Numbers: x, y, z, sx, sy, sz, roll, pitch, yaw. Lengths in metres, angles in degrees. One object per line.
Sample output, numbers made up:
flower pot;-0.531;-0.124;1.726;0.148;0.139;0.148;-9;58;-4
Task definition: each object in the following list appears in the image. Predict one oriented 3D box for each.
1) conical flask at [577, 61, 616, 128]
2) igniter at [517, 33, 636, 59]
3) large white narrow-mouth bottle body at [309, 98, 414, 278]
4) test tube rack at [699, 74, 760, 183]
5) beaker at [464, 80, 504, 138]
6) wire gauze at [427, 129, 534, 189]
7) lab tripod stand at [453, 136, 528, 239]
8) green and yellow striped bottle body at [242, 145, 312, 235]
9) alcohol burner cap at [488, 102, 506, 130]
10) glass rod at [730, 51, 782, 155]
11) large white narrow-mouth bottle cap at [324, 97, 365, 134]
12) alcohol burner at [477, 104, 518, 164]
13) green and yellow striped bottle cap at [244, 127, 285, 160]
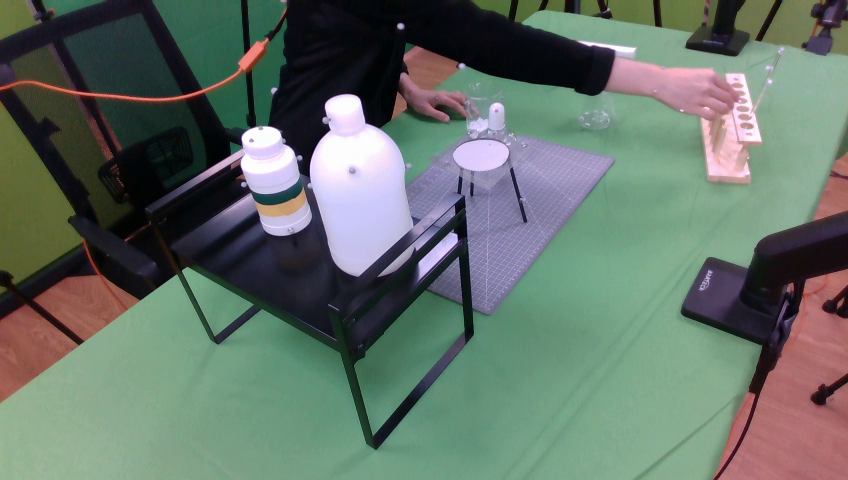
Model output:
conical flask;0.343;-0.287;1.187;0.075;0.122;0.075;-4;40;4
igniter;0.336;-0.441;1.369;0.275;0.025;0.057;16;41;23
large white narrow-mouth bottle body;-0.068;-0.057;0.645;0.102;0.195;0.101;-4;42;4
test tube rack;0.547;-0.208;1.095;0.066;0.085;0.242;6;42;16
beaker;0.118;-0.254;1.193;0.074;0.101;0.083;-19;42;-14
wire gauze;0.086;-0.131;0.924;0.124;0.011;0.122;26;52;33
lab tripod stand;0.094;-0.086;0.974;0.148;0.132;0.147;-4;42;4
green and yellow striped bottle body;-0.179;-0.069;0.730;0.063;0.120;0.063;-4;41;4
alcohol burner cap;0.133;-0.227;1.092;0.034;0.048;0.033;-1;47;2
glass rod;0.551;-0.223;1.009;0.008;0.200;0.008;1;46;-1
large white narrow-mouth bottle cap;-0.076;-0.121;0.586;0.038;0.024;0.037;-3;42;4
alcohol burner;0.135;-0.199;1.117;0.078;0.119;0.077;-4;43;4
green and yellow striped bottle cap;-0.183;-0.111;0.694;0.045;0.020;0.045;-1;42;2
